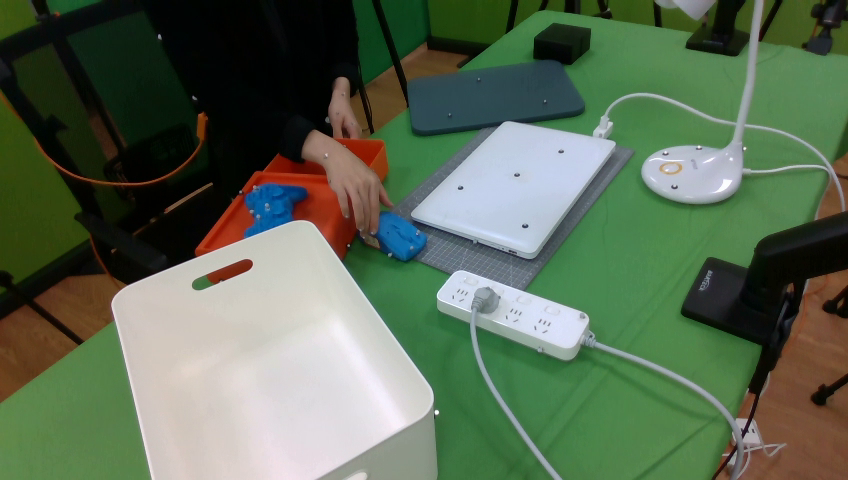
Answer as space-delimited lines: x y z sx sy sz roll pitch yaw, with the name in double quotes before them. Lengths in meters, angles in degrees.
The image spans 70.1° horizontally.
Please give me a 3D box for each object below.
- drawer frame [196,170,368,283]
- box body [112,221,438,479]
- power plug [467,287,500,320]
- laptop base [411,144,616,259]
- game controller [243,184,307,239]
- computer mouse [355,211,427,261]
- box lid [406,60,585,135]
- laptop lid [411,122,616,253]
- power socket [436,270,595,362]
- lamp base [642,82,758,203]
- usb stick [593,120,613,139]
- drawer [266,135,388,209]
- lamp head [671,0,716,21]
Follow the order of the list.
"drawer frame" -0.220 -0.020 0.984 0.201 0.083 0.213 5 42 12
"box body" -0.170 0.168 0.693 0.255 0.161 0.360 -25 43 -19
"power plug" 0.073 0.092 0.813 0.035 0.053 0.073 29 54 34
"laptop base" 0.168 -0.101 1.073 0.234 0.023 0.355 17 46 30
"game controller" -0.227 -0.038 0.928 0.097 0.052 0.154 -14 40 -4
"computer mouse" -0.054 -0.010 0.979 0.116 0.041 0.063 27 49 28
"box lid" 0.150 -0.320 1.340 0.372 0.015 0.261 -8 40 0
"laptop lid" 0.165 -0.111 1.067 0.240 0.013 0.357 19 46 31
"power socket" 0.118 0.101 0.832 0.225 0.033 0.072 19 48 27
"lamp base" 0.464 -0.174 0.992 0.179 0.181 0.159 -5 41 -1
"usb stick" 0.336 -0.201 1.147 0.021 0.027 0.059 26 53 26
"drawer" -0.189 -0.100 1.078 0.194 0.073 0.211 6 42 15
"lamp head" 0.375 -0.373 0.807 0.122 0.113 0.112 -40 27 32
